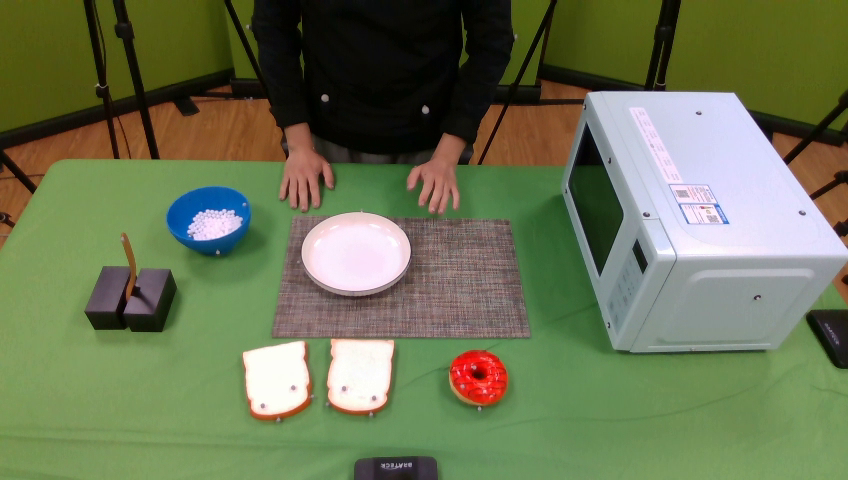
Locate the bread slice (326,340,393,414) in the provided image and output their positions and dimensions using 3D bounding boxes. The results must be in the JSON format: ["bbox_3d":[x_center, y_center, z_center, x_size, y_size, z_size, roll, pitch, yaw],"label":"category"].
[{"bbox_3d":[-0.104,0.219,0.983,0.107,0.018,0.133,0,45,-4],"label":"bread slice"}]

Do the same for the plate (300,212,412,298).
[{"bbox_3d":[-0.127,0.031,1.145,0.208,0.039,0.206,2,45,-2],"label":"plate"}]

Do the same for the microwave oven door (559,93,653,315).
[{"bbox_3d":[0.327,-0.074,1.123,0.039,0.245,0.353,-1,46,-5],"label":"microwave oven door"}]

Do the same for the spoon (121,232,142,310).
[{"bbox_3d":[-0.479,0.051,0.994,0.022,0.194,0.041,13,46,-11],"label":"spoon"}]

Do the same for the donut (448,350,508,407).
[{"bbox_3d":[0.087,0.223,0.977,0.099,0.048,0.098,4,46,-4],"label":"donut"}]

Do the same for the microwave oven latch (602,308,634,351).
[{"bbox_3d":[0.332,0.153,1.044,0.030,0.029,0.078,-1,45,-4],"label":"microwave oven latch"}]

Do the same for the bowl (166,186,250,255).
[{"bbox_3d":[-0.403,-0.024,1.154,0.151,0.077,0.150,2,46,-2],"label":"bowl"}]

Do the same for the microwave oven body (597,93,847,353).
[{"bbox_3d":[0.475,-0.041,1.109,0.326,0.261,0.438,-1,45,-4],"label":"microwave oven body"}]

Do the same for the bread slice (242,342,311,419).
[{"bbox_3d":[-0.234,0.223,0.970,0.105,0.019,0.130,-10,46,-13],"label":"bread slice"}]
